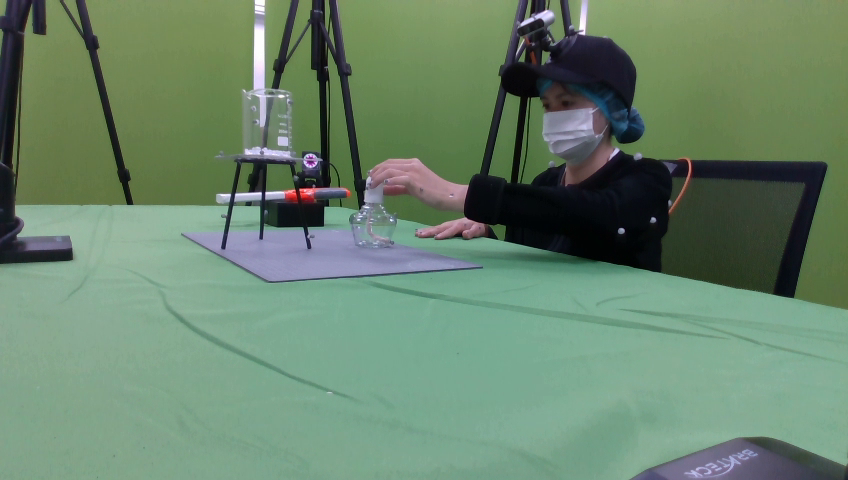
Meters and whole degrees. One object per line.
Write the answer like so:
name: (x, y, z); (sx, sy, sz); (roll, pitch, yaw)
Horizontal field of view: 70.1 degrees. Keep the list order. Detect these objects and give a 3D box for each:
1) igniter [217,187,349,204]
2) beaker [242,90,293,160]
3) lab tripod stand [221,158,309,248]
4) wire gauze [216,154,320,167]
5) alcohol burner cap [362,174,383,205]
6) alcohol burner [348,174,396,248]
igniter: (-0.285, -0.093, 1.256); (0.278, 0.025, 0.057); (-6, 12, -34)
beaker: (-0.235, -0.169, 0.900); (0.074, 0.100, 0.084); (4, 7, 23)
lab tripod stand: (-0.244, -0.057, 0.917); (0.148, 0.131, 0.148); (1, 7, 0)
wire gauze: (-0.236, -0.121, 0.906); (0.126, 0.011, 0.121); (0, 8, -33)
alcohol burner cap: (-0.081, -0.081, 0.969); (0.034, 0.048, 0.034); (5, 11, -1)
alcohol burner: (-0.083, -0.046, 0.973); (0.078, 0.119, 0.078); (4, 6, 0)
